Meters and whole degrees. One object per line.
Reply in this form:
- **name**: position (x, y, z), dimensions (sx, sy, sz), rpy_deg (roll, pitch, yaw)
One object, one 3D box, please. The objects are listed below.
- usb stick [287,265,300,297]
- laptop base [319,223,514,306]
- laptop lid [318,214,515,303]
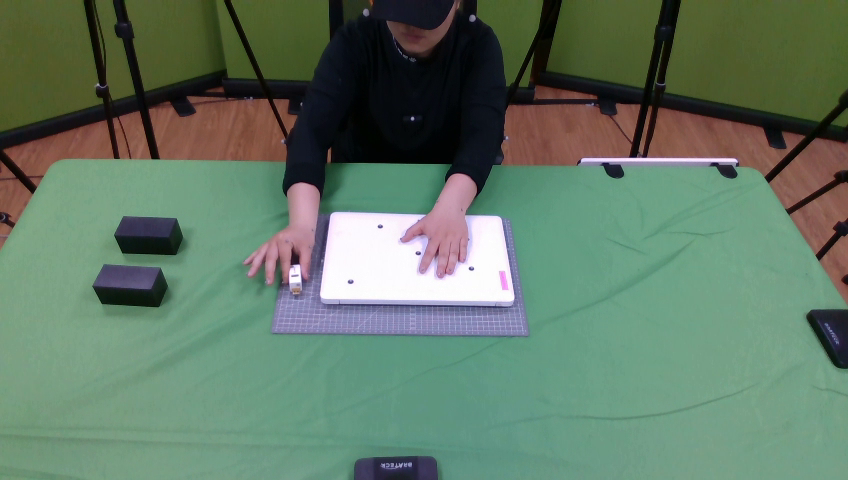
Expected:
- **usb stick**: position (-0.236, 0.075, 1.099), dimensions (0.021, 0.027, 0.059), rpy_deg (-4, 50, -12)
- **laptop base**: position (-0.015, 0.037, 1.162), dimensions (0.354, 0.023, 0.234), rpy_deg (1, 42, -3)
- **laptop lid**: position (-0.014, 0.029, 1.157), dimensions (0.357, 0.013, 0.240), rpy_deg (2, 43, -2)
